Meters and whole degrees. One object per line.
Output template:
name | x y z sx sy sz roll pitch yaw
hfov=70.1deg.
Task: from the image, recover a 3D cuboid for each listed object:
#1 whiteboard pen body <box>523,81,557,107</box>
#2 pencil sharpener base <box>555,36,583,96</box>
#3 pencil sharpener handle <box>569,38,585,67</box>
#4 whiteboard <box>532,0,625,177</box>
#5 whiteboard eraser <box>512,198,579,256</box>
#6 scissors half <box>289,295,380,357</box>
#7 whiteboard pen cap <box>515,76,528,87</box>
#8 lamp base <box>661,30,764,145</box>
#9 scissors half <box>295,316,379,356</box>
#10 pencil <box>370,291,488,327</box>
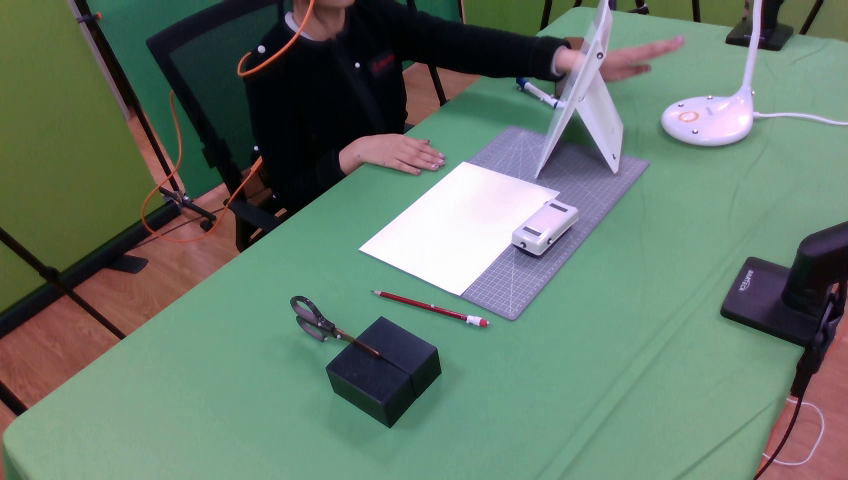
whiteboard pen body | 0.249 -0.321 1.313 0.017 0.017 0.139 -24 44 -17
pencil sharpener base | 0.318 -0.371 1.290 0.061 0.107 0.076 10 44 22
pencil sharpener handle | 0.332 -0.413 1.317 0.036 0.068 0.030 19 46 13
whiteboard | 0.320 -0.258 1.050 0.144 0.306 0.217 21 45 5
whiteboard eraser | 0.191 -0.019 0.949 0.055 0.042 0.113 26 51 36
scissors half | -0.122 0.114 0.803 0.174 0.040 0.013 26 50 32
whiteboard pen cap | 0.220 -0.354 1.352 0.018 0.018 0.033 -23 44 -16
lamp base | 0.535 -0.287 1.096 0.179 0.181 0.159 -10 40 -4
scissors half | -0.119 0.132 0.813 0.174 0.040 0.013 9 34 45
pencil | 0.003 0.097 0.877 0.193 0.012 0.012 13 45 26
